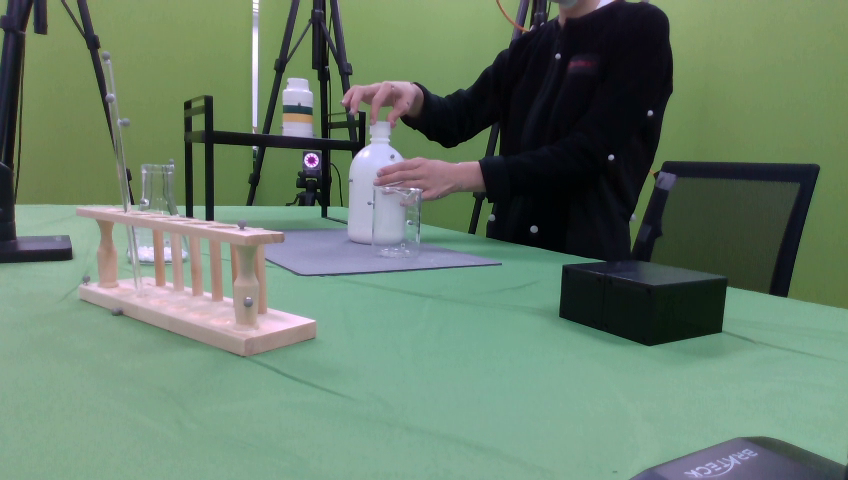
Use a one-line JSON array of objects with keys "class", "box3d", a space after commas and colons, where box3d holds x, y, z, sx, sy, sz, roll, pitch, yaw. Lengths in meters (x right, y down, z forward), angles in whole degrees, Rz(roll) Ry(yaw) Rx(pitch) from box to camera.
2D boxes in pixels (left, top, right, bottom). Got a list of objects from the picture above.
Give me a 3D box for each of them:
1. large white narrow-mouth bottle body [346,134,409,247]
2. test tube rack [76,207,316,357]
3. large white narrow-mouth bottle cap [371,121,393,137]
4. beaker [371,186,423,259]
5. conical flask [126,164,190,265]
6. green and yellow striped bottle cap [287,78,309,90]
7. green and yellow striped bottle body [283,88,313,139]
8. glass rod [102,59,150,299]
[{"class": "large white narrow-mouth bottle body", "box3d": [-0.076, -0.091, 1.010, 0.102, 0.194, 0.102, 4, 8, 0]}, {"class": "test tube rack", "box3d": [-0.196, 0.023, 0.500, 0.241, 0.085, 0.067, 7, 9, 36]}, {"class": "large white narrow-mouth bottle cap", "box3d": [-0.068, -0.183, 0.996, 0.038, 0.024, 0.037, 4, 8, 0]}, {"class": "beaker", "box3d": [-0.038, -0.025, 0.868, 0.074, 0.100, 0.083, -1, 8, -22]}, {"class": "conical flask", "box3d": [-0.332, -0.033, 0.756, 0.075, 0.122, 0.075, 2, 7, 0]}, {"class": "green and yellow striped bottle cap", "box3d": [-0.265, -0.326, 1.268, 0.045, 0.020, 0.045, 4, 6, 0]}, {"class": "green and yellow striped bottle body", "box3d": [-0.266, -0.275, 1.275, 0.063, 0.119, 0.063, 3, 7, 0]}, {"class": "glass rod", "box3d": [-0.243, -0.045, 0.496, 0.008, 0.199, 0.008, -4, 12, 1]}]
